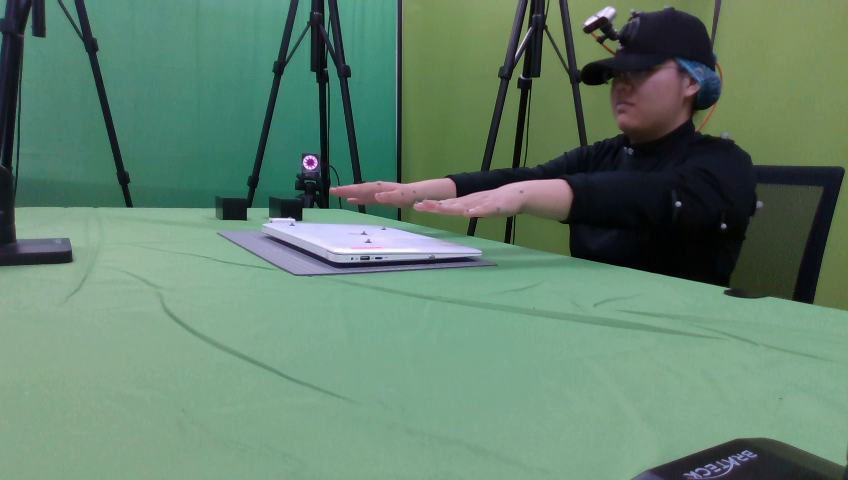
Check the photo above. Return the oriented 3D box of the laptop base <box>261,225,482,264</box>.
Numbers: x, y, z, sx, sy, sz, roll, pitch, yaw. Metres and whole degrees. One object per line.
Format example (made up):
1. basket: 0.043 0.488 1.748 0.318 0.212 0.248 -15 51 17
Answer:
1. laptop base: -0.100 0.006 0.965 0.237 0.023 0.352 2 6 -31

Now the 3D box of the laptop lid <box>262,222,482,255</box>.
1. laptop lid: -0.098 -0.005 0.964 0.243 0.013 0.355 1 7 -29

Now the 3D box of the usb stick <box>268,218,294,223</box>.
1. usb stick: -0.272 -0.027 1.119 0.059 0.027 0.021 -7 11 -34
